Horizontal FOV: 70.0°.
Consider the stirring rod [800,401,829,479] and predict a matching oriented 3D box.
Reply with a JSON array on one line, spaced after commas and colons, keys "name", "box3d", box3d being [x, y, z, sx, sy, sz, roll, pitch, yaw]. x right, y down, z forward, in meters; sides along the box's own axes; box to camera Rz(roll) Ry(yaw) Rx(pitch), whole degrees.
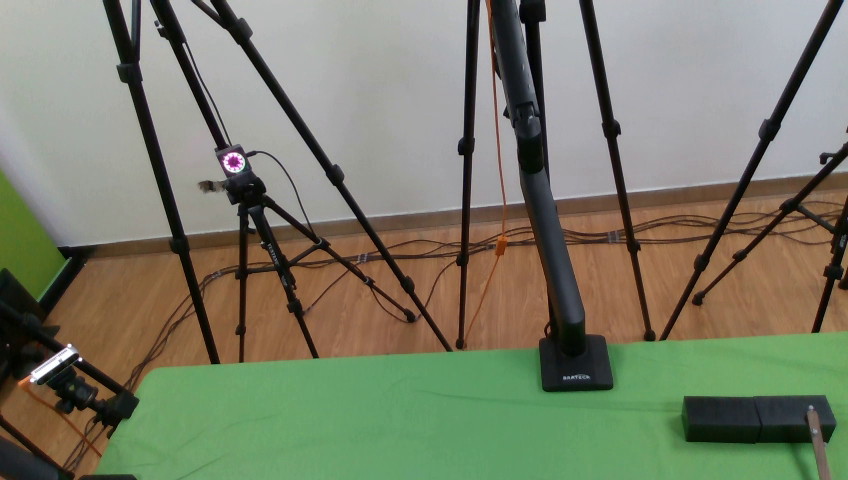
[{"name": "stirring rod", "box3d": [0.551, 0.312, 0.844, 0.014, 0.006, 0.174, -1, 60, 10]}]
